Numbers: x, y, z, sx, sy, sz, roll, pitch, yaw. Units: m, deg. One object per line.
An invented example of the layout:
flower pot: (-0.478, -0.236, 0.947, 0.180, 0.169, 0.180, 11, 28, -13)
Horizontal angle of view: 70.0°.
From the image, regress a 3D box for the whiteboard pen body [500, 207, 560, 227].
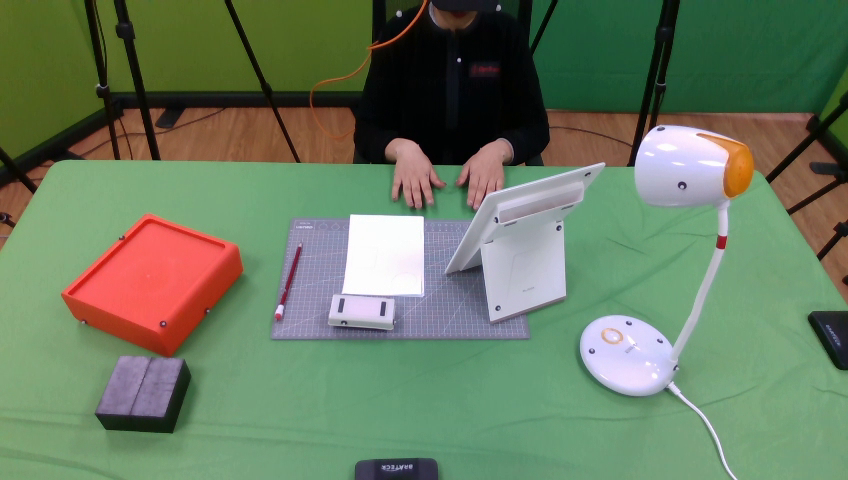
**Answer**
whiteboard pen body: (0.222, -0.051, 1.260, 0.141, 0.017, 0.017, -15, 49, -16)

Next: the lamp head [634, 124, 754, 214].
lamp head: (0.351, -0.089, 0.775, 0.112, 0.113, 0.122, -30, 30, -28)

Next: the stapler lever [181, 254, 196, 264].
stapler lever: (-0.440, 0.026, 1.086, 0.117, 0.040, 0.027, 30, 37, 30)

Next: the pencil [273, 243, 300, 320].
pencil: (-0.249, 0.070, 1.115, 0.012, 0.012, 0.193, 5, 44, 1)

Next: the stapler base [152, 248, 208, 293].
stapler base: (-0.443, 0.049, 1.101, 0.130, 0.024, 0.041, 33, 37, 29)

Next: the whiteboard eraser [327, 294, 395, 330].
whiteboard eraser: (-0.108, 0.127, 1.049, 0.113, 0.042, 0.055, 4, 45, -1)

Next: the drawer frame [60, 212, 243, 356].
drawer frame: (-0.462, 0.070, 1.053, 0.201, 0.083, 0.213, 18, 48, 12)

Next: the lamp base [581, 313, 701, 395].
lamp base: (0.361, 0.144, 0.973, 0.178, 0.181, 0.160, 34, 53, 23)

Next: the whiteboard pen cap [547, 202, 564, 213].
whiteboard pen cap: (0.277, -0.066, 1.275, 0.033, 0.018, 0.018, -18, 50, -15)

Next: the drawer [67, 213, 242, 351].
drawer: (-0.461, 0.068, 1.057, 0.194, 0.073, 0.211, 19, 48, 13)

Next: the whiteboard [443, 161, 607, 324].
whiteboard: (0.185, 0.026, 1.028, 0.217, 0.306, 0.143, -15, 68, -18)
